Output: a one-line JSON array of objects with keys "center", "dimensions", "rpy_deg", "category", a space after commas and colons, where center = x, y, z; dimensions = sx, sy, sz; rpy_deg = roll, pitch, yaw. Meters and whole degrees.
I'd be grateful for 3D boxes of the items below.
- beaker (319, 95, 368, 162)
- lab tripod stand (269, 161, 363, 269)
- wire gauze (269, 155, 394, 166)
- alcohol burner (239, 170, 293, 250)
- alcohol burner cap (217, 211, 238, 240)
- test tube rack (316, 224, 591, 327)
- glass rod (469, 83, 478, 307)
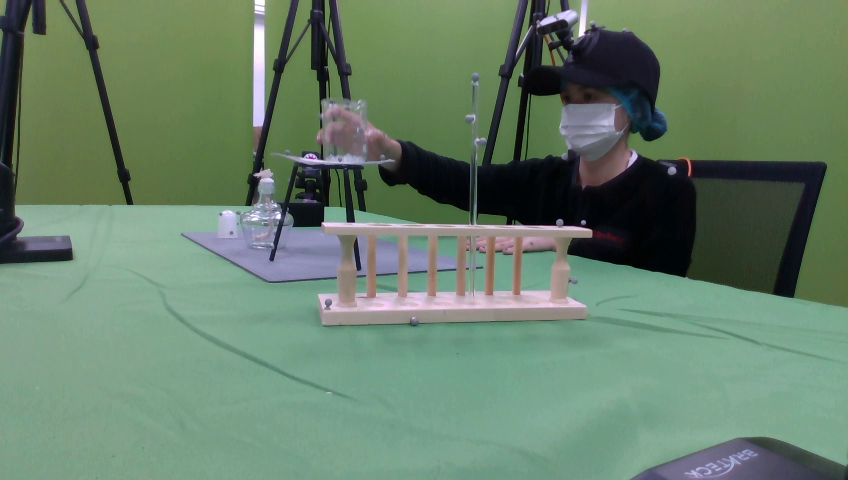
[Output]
[{"center": [-0.123, -0.173, 0.950], "dimensions": [0.074, 0.100, 0.083], "rpy_deg": [-4, 7, -34], "category": "beaker"}, {"center": [-0.125, -0.036, 0.794], "dimensions": [0.148, 0.131, 0.148], "rpy_deg": [5, 7, 0], "category": "lab tripod stand"}, {"center": [-0.121, -0.102, 0.785], "dimensions": [0.122, 0.011, 0.124], "rpy_deg": [-3, 10, -38], "category": "wire gauze"}, {"center": [-0.237, -0.045, 0.904], "dimensions": [0.078, 0.119, 0.078], "rpy_deg": [1, 8, 0], "category": "alcohol burner"}, {"center": [-0.323, -0.024, 0.994], "dimensions": [0.034, 0.048, 0.034], "rpy_deg": [3, 8, 0], "category": "alcohol burner cap"}, {"center": [0.026, 0.028, 0.555], "dimensions": [0.243, 0.085, 0.066], "rpy_deg": [1, 7, -15], "category": "test tube rack"}, {"center": [0.043, -0.033, 0.523], "dimensions": [0.008, 0.199, 0.008], "rpy_deg": [-1, 14, 1], "category": "glass rod"}]
